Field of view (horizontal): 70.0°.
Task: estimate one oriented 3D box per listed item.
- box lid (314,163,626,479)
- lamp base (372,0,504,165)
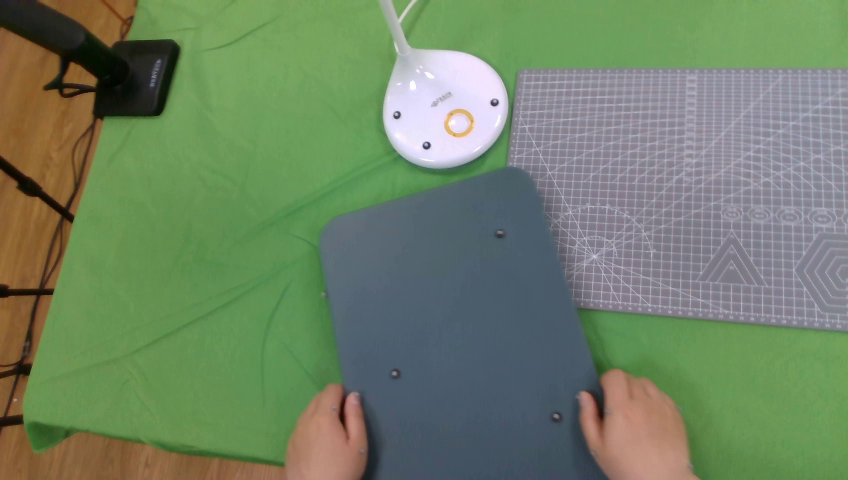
[{"bbox_3d":[0.034,0.105,0.651,0.263,0.015,0.368,-17,71,4],"label":"box lid"},{"bbox_3d":[-0.006,-0.199,0.695,0.160,0.182,0.177,-44,67,-3],"label":"lamp base"}]
